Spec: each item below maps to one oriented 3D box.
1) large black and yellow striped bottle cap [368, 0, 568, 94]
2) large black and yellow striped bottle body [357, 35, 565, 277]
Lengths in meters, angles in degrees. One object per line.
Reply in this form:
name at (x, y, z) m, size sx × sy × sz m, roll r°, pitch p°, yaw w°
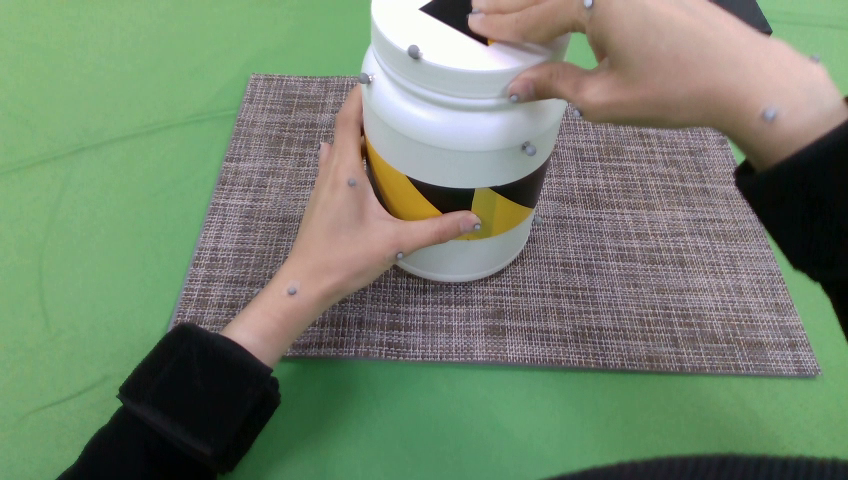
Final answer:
large black and yellow striped bottle cap at (0.025, -0.128, 0.347) m, size 0.115 × 0.019 × 0.114 m, roll 3°, pitch 53°, yaw -3°
large black and yellow striped bottle body at (0.021, -0.075, 0.414) m, size 0.131 × 0.185 × 0.129 m, roll 2°, pitch 52°, yaw -2°
